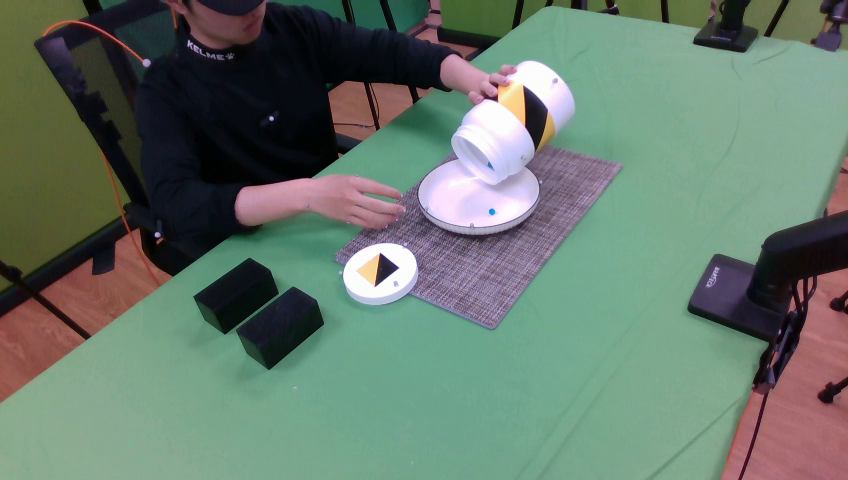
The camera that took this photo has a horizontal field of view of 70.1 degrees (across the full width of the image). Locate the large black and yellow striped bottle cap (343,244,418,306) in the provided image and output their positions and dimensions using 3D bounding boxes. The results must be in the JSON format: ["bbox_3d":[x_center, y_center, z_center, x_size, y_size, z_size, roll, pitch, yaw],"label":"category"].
[{"bbox_3d":[-0.066,0.051,0.918,0.115,0.019,0.114,-6,43,6],"label":"large black and yellow striped bottle cap"}]

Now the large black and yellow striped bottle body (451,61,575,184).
[{"bbox_3d":[0.146,-0.193,1.011,0.184,0.132,0.129,-44,50,-12],"label":"large black and yellow striped bottle body"}]

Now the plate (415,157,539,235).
[{"bbox_3d":[0.090,-0.074,1.025,0.207,0.039,0.206,-4,41,4],"label":"plate"}]
